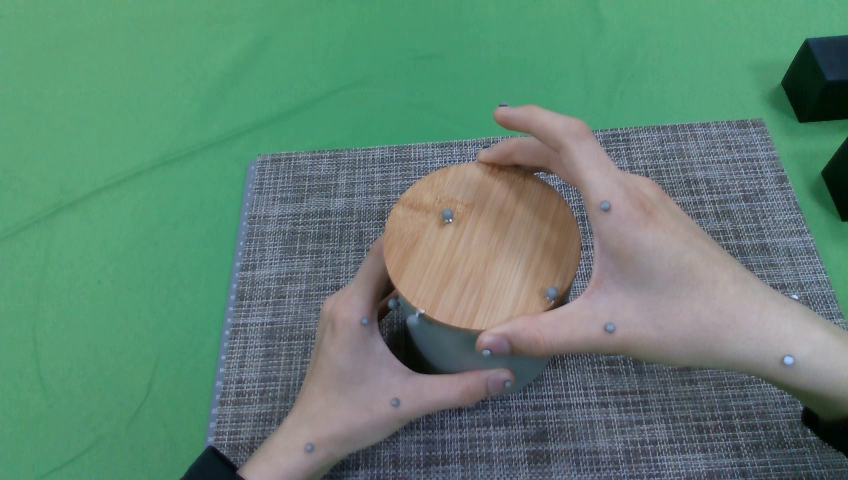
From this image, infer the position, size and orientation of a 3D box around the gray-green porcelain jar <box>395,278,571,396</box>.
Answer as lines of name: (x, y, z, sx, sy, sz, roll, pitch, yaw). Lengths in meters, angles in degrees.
gray-green porcelain jar: (0.036, 0.037, 0.392, 0.106, 0.127, 0.105, -2, 58, 4)

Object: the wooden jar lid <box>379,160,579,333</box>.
wooden jar lid: (0.030, 0.003, 0.337, 0.108, 0.021, 0.107, -1, 61, 2)
